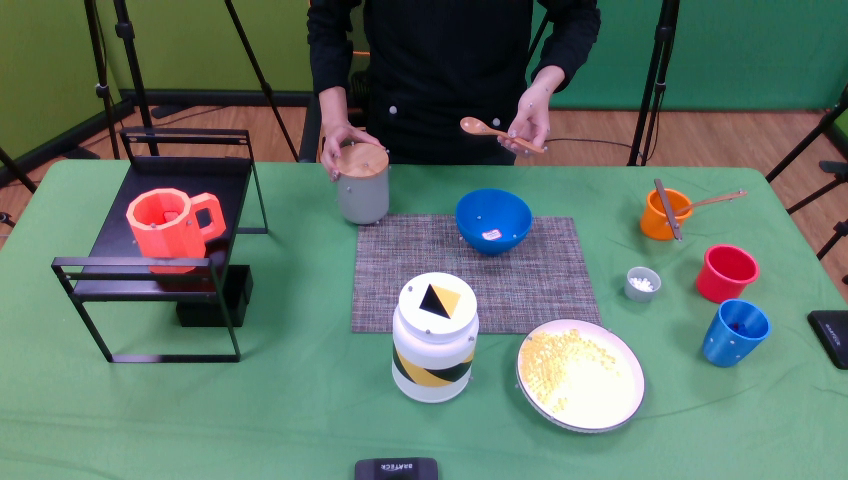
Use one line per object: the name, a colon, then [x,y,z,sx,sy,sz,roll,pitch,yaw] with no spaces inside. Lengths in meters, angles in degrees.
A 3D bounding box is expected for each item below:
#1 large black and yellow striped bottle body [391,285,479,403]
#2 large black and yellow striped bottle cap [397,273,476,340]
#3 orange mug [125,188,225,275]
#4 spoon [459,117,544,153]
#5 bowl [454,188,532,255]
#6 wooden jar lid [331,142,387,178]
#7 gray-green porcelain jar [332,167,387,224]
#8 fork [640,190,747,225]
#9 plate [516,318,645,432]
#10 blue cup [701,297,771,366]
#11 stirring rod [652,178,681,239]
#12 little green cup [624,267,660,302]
large black and yellow striped bottle body: [0.015,0.153,0.938,0.131,0.185,0.130,2,46,-2]
large black and yellow striped bottle cap: [0.018,0.094,0.878,0.115,0.019,0.114,3,46,-3]
orange mug: [-0.357,-0.020,0.884,0.126,0.101,0.083,-29,54,-23]
spoon: [0.133,-0.184,1.058,0.041,0.022,0.192,-31,39,-27]
bowl: [0.131,-0.025,1.186,0.151,0.077,0.150,2,46,-2]
wooden jar lid: [-0.125,-0.150,1.169,0.108,0.021,0.107,1,44,-1]
gray-green porcelain jar: [-0.126,-0.104,1.211,0.106,0.127,0.105,1,42,-1]
fork: [0.533,-0.065,1.211,0.207,0.019,0.028,-22,27,38]
plate: [0.253,0.221,0.993,0.209,0.038,0.208,2,46,-2]
blue cup: [0.519,0.162,1.025,0.093,0.101,0.092,3,45,-3]
stirring rod: [0.481,-0.065,1.204,0.014,0.006,0.175,2,46,-1]
little green cup: [0.406,0.084,1.135,0.061,0.039,0.061,3,45,-3]
